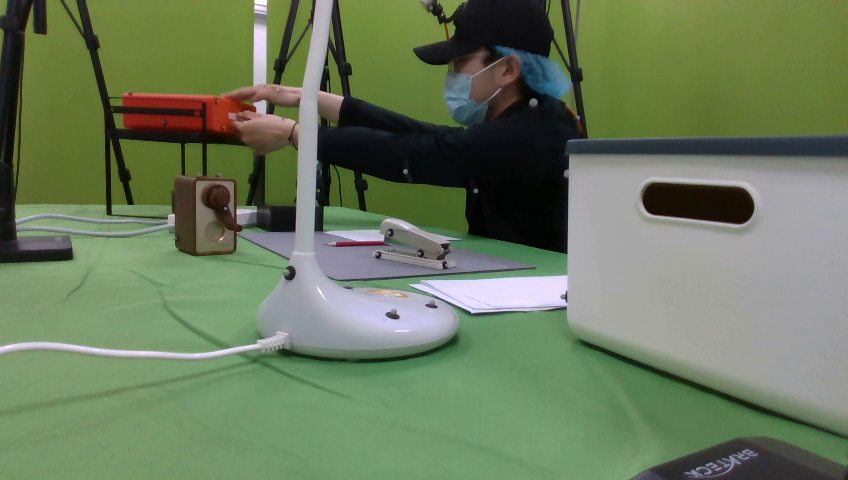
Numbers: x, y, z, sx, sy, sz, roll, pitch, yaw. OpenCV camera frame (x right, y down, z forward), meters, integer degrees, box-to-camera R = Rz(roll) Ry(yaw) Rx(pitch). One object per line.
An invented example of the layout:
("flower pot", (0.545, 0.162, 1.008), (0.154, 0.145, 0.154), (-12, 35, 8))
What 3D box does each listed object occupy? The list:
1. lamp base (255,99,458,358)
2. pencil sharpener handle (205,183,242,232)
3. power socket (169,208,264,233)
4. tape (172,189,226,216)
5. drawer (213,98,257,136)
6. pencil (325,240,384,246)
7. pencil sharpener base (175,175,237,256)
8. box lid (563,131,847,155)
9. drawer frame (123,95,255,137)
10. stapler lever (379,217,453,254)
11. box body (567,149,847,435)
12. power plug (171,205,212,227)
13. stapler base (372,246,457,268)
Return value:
("lamp base", (-0.056, -0.013, 0.462), (0.160, 0.180, 0.180), (6, 11, 27))
("pencil sharpener handle", (-0.265, -0.043, 0.812), (0.036, 0.068, 0.030), (-31, 27, -35))
("power socket", (-0.381, -0.038, 1.129), (0.072, 0.032, 0.227), (4, 8, 16))
("tape", (-0.515, -0.087, 1.388), (0.117, 0.052, 0.117), (3, 8, 0))
("drawer", (-0.518, -0.280, 1.376), (0.211, 0.073, 0.195), (3, 8, 10))
("pencil", (-0.066, 0.003, 0.979), (0.195, 0.012, 0.012), (-3, 9, -25))
("pencil sharpener base", (-0.304, -0.036, 0.847), (0.062, 0.107, 0.076), (-4, 10, -42))
("box lid", (0.322, -0.064, 0.463), (0.373, 0.015, 0.262), (-2, 9, -31))
("drawer frame", (-0.523, -0.280, 1.376), (0.213, 0.082, 0.202), (3, 8, 8))
("stapler lever", (-0.013, -0.007, 0.828), (0.117, 0.040, 0.027), (9, 11, 39))
("box body", (0.318, 0.009, 0.471), (0.366, 0.160, 0.253), (-2, 8, -31))
("power plug", (-0.455, -0.040, 1.196), (0.052, 0.035, 0.072), (3, 45, 24))
("stapler base", (-0.016, 0.017, 0.831), (0.130, 0.024, 0.041), (10, 12, 39))
